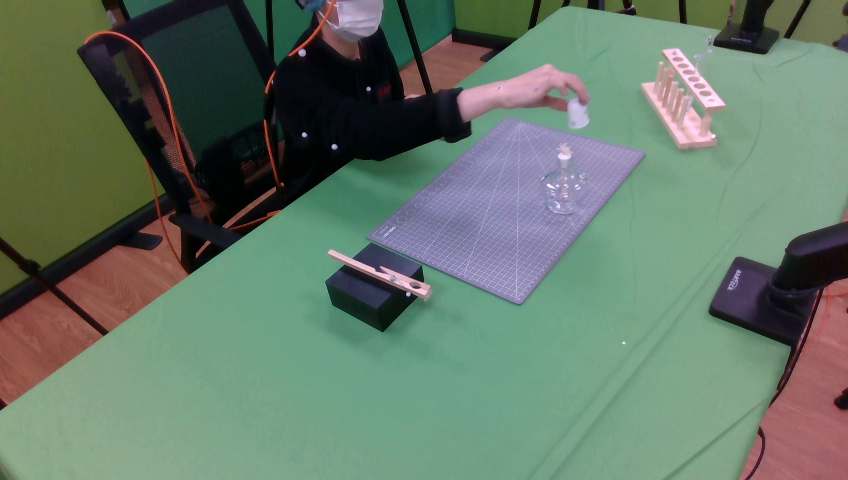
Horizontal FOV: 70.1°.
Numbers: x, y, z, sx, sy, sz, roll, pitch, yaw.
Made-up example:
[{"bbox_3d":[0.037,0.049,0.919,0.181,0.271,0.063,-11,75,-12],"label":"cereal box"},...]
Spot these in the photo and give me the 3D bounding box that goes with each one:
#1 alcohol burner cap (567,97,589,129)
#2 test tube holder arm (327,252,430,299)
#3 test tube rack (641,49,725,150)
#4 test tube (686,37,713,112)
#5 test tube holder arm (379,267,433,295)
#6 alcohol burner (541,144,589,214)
[{"bbox_3d":[0.238,-0.200,0.943,0.034,0.048,0.033,-12,40,10],"label":"alcohol burner cap"},{"bbox_3d":[-0.068,0.049,0.855,0.177,0.015,0.013,18,54,27],"label":"test tube holder arm"},{"bbox_3d":[0.495,-0.279,1.175,0.067,0.085,0.241,-5,41,3],"label":"test tube rack"},{"bbox_3d":[0.509,-0.306,1.128,0.017,0.151,0.017,-1,45,1],"label":"test tube"},{"bbox_3d":[-0.027,0.057,0.837,0.087,0.015,0.010,18,54,28],"label":"test tube holder arm"},{"bbox_3d":[0.229,-0.102,0.983,0.078,0.119,0.077,-6,40,5],"label":"alcohol burner"}]
